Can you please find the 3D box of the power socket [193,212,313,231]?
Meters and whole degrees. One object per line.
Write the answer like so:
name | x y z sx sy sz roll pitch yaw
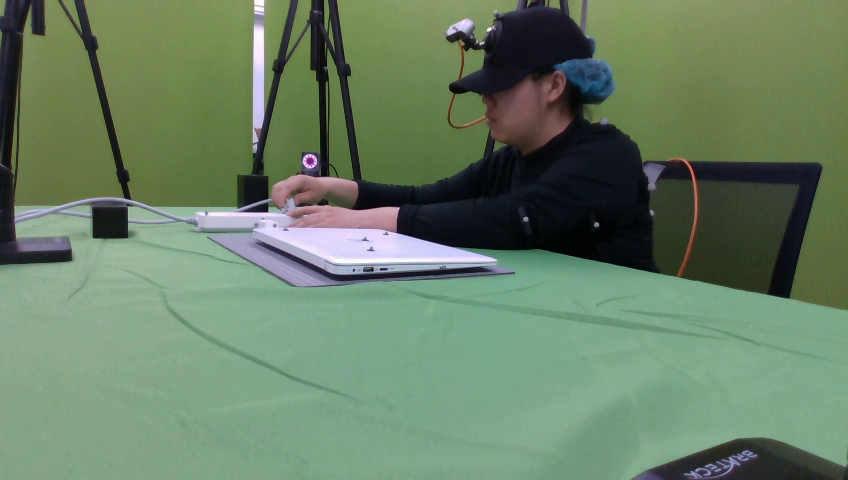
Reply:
power socket | -0.323 -0.037 1.153 0.228 0.032 0.072 -2 7 -32

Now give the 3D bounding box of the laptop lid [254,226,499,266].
laptop lid | -0.086 0.005 0.876 0.243 0.013 0.355 1 7 -30

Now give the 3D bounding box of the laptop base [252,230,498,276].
laptop base | -0.089 0.017 0.876 0.237 0.023 0.352 2 6 -32

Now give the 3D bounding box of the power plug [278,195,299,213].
power plug | -0.273 -0.063 1.217 0.035 0.052 0.072 0 7 -19

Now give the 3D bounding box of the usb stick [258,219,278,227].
usb stick | -0.255 -0.018 0.996 0.021 0.027 0.059 -2 12 -29
